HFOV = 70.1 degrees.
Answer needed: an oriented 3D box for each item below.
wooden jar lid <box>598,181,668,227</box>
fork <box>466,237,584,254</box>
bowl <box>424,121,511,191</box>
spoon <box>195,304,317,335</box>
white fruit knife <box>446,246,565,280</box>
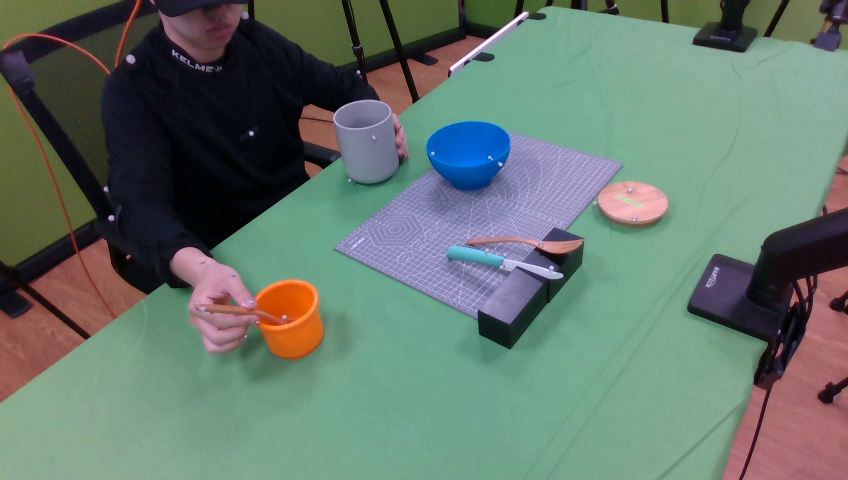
[{"bbox_3d":[0.340,-0.058,0.989,0.108,0.021,0.108,-5,41,5],"label":"wooden jar lid"},{"bbox_3d":[0.142,0.005,0.894,0.205,0.019,0.028,4,43,41],"label":"fork"},{"bbox_3d":[0.080,-0.141,1.074,0.151,0.077,0.150,-4,40,4],"label":"bowl"},{"bbox_3d":[-0.210,0.099,0.775,0.041,0.195,0.021,23,87,37],"label":"spoon"},{"bbox_3d":[0.111,0.033,0.868,0.205,0.027,0.016,11,43,40],"label":"white fruit knife"}]
